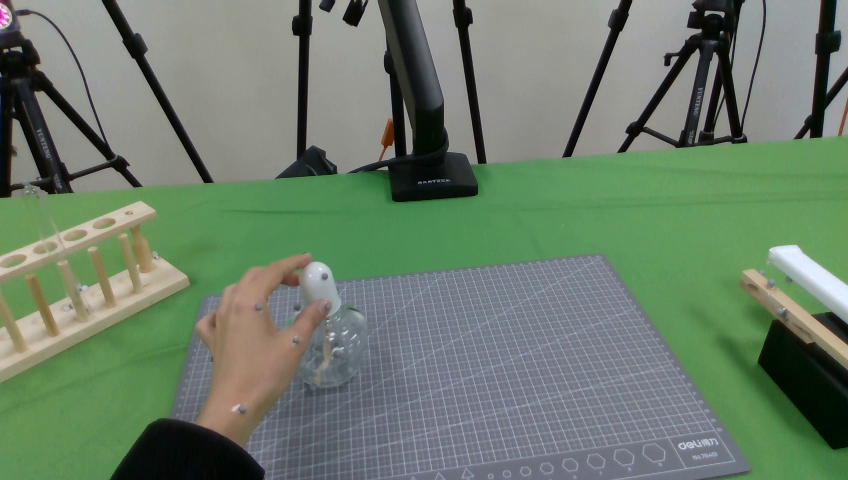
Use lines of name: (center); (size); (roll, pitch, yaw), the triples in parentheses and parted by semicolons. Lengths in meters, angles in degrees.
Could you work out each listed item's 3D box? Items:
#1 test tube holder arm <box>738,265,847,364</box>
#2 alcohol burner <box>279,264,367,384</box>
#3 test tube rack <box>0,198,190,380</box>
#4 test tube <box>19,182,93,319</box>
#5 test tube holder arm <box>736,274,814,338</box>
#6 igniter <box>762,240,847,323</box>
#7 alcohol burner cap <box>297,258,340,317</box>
test tube holder arm: (0.322, 0.073, 0.495); (0.015, 0.013, 0.176); (-15, 33, -8)
alcohol burner: (-0.089, 0.067, 0.526); (0.078, 0.120, 0.077); (0, 35, 0)
test tube rack: (-0.365, 0.051, 0.591); (0.066, 0.086, 0.242); (25, 42, 34)
test tube: (-0.341, 0.013, 0.565); (0.017, 0.151, 0.017); (-1, 34, 1)
test tube holder arm: (0.311, 0.055, 0.535); (0.015, 0.010, 0.087); (-15, 32, -8)
igniter: (0.375, 0.076, 0.490); (0.057, 0.025, 0.273); (-7, 31, -7)
alcohol burner cap: (-0.090, 0.037, 0.506); (0.034, 0.048, 0.033); (-2, 37, 2)
